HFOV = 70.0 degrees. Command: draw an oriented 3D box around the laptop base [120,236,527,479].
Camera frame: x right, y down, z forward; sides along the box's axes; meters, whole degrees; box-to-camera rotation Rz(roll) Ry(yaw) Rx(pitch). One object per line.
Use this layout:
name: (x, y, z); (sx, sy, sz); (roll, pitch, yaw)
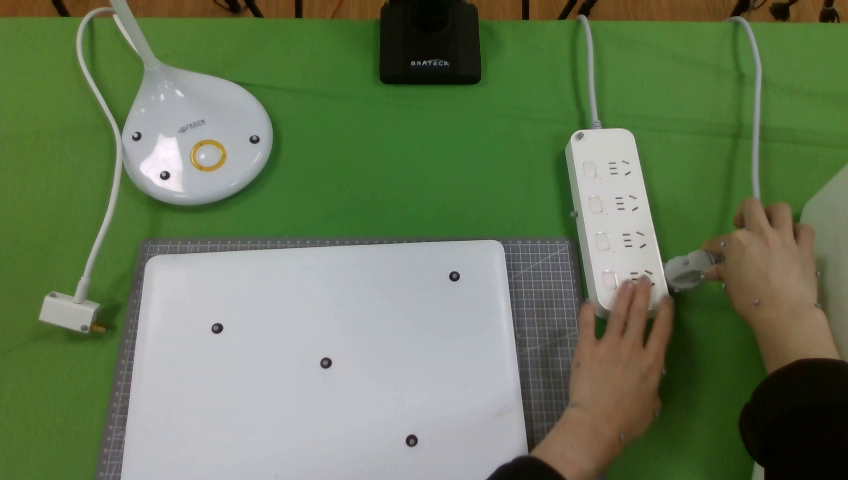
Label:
laptop base: (-0.091, 0.112, 0.570); (0.355, 0.023, 0.234); (-3, 70, -3)

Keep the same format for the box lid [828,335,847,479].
box lid: (0.452, 0.071, 0.442); (0.263, 0.015, 0.369); (21, 68, 8)

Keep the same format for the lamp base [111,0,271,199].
lamp base: (-0.256, -0.156, 0.596); (0.160, 0.181, 0.178); (-37, 69, -17)

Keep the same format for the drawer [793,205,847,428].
drawer: (0.462, 0.087, 0.548); (0.194, 0.074, 0.211); (20, 71, 7)

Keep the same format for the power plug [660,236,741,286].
power plug: (0.269, 0.025, 0.591); (0.072, 0.053, 0.035); (-7, 67, 9)

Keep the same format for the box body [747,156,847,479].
box body: (0.450, 0.104, 0.510); (0.253, 0.161, 0.362); (21, 67, 8)

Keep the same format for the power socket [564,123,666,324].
power socket: (0.195, -0.026, 0.631); (0.072, 0.033, 0.225); (-1, 66, -3)

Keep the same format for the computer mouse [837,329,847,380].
computer mouse: (0.443, 0.118, 0.551); (0.116, 0.041, 0.062); (25, 76, 13)

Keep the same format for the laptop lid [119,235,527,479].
laptop lid: (-0.091, 0.110, 0.558); (0.357, 0.013, 0.240); (-1, 69, -2)

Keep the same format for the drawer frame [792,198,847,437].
drawer frame: (0.458, 0.092, 0.549); (0.201, 0.083, 0.212); (20, 62, 6)

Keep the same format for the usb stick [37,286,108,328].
usb stick: (-0.329, 0.066, 0.575); (0.059, 0.021, 0.027); (24, 94, -17)
